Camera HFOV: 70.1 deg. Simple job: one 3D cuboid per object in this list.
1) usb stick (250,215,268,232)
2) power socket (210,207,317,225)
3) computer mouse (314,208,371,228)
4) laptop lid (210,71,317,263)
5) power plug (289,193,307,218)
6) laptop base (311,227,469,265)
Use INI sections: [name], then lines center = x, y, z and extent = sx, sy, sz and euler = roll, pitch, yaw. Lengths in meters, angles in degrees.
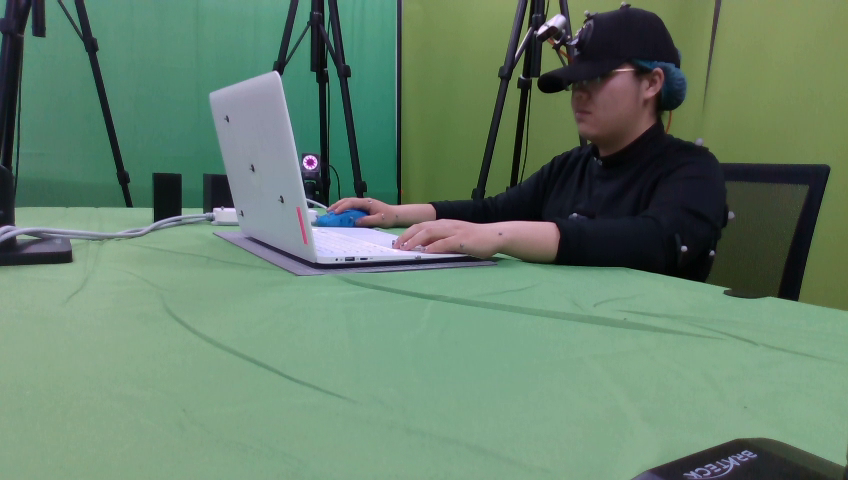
[usb stick]
center = -0.290, -0.028, 1.069
extent = 0.021, 0.027, 0.059
euler = -1, 11, -30
[power socket]
center = -0.335, -0.051, 1.281
extent = 0.228, 0.032, 0.072
euler = -1, 8, -28
[computer mouse]
center = -0.173, -0.046, 1.285
extent = 0.118, 0.041, 0.062
euler = -7, 13, -29
[laptop lid]
center = -0.241, -0.104, 0.861
extent = 0.013, 0.241, 0.355
euler = -16, 17, -29
[power plug]
center = -0.280, -0.076, 1.341
extent = 0.035, 0.052, 0.072
euler = 3, 7, -17
[laptop base]
center = -0.123, 0.007, 0.952
extent = 0.237, 0.023, 0.352
euler = 2, 6, -32
